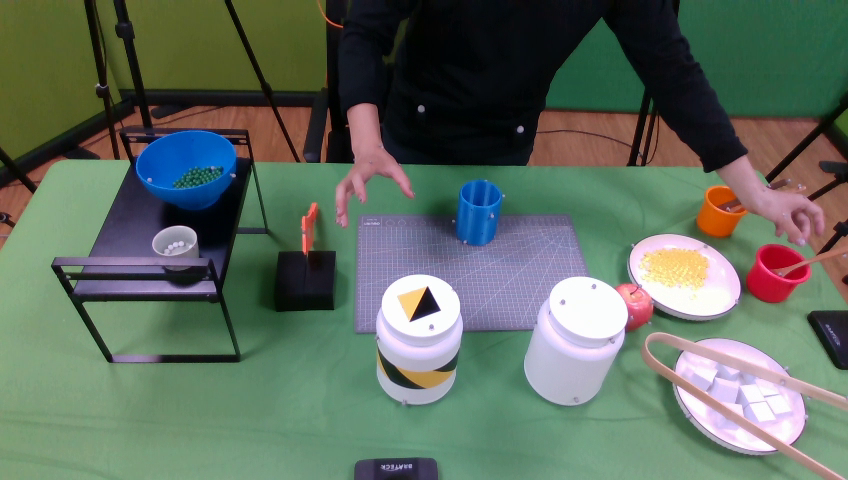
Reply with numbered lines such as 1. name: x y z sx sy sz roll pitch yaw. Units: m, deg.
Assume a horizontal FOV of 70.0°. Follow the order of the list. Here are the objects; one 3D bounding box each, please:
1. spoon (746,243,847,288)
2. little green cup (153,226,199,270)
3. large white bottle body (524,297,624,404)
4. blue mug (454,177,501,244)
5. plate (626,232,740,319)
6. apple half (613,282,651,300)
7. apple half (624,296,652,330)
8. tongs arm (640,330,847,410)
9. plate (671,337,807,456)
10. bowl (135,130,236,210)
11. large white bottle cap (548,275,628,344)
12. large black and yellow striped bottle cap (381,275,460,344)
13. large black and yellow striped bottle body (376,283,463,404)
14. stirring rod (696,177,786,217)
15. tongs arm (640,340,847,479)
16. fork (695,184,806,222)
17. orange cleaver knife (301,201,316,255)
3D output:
1. spoon: 0.702 0.044 1.126 0.194 0.022 0.041 -28 44 30
2. little green cup: -0.364 0.013 0.894 0.061 0.039 0.061 3 46 -3
3. large white bottle body: 0.235 0.159 0.952 0.131 0.185 0.130 2 47 -2
4. blue mug: 0.106 -0.067 1.208 0.082 0.106 0.116 6 46 1
5. plate: 0.488 0.070 1.157 0.209 0.038 0.208 3 46 -3
6. apple half: 0.356 0.109 1.086 0.081 0.075 0.053 -13 44 -12
7. apple half: 0.368 0.135 1.060 0.081 0.081 0.032 -11 43 -15
8. tongs arm: 0.543 0.225 0.969 0.384 0.026 0.050 22 52 13
9. plate: 0.503 0.254 0.984 0.208 0.039 0.206 2 46 -2
10. bowl: -0.375 -0.102 0.978 0.151 0.077 0.150 2 46 -2
11. large white bottle cap: 0.240 0.100 0.890 0.115 0.018 0.114 3 47 -3
12. large black and yellow striped bottle cap: -0.005 0.098 0.874 0.115 0.019 0.114 2 45 -1
13. large black and yellow striped bottle body: -0.010 0.155 0.937 0.131 0.185 0.130 2 47 -2
14. stirring rod: 0.648 -0.087 1.245 0.176 0.006 0.014 -26 52 29
15. tongs arm: 0.500 0.277 0.919 0.386 0.028 0.028 34 59 22
16. fork: 0.658 -0.074 1.229 0.207 0.019 0.028 -24 33 36
17. orange cleaver knife: -0.221 -0.027 1.160 0.012 0.077 0.210 -1 15 -4
